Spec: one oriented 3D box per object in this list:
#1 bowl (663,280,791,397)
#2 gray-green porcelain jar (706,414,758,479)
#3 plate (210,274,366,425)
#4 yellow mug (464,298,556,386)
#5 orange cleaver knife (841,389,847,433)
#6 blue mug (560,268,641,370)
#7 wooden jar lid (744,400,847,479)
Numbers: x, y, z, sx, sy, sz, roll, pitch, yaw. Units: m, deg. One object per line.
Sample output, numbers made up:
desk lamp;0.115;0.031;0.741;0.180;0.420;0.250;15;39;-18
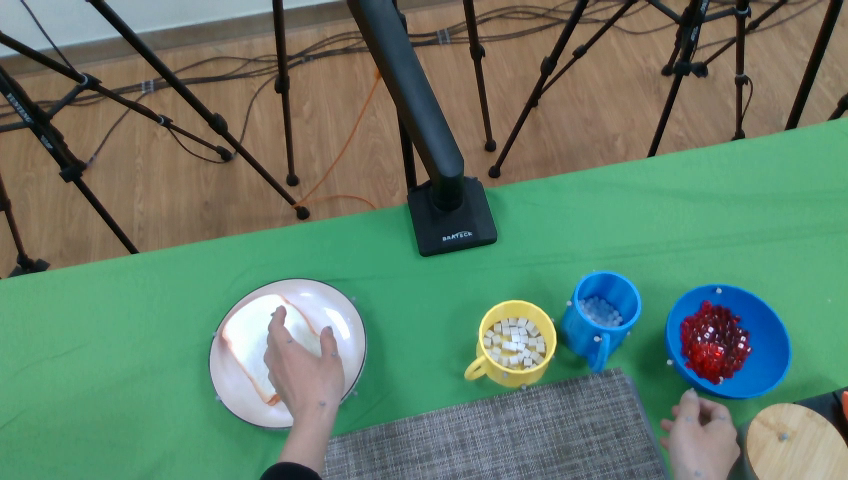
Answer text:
bowl;0.376;0.136;0.781;0.151;0.077;0.150;-1;61;2
gray-green porcelain jar;0.391;0.255;0.688;0.106;0.127;0.105;0;61;1
plate;-0.179;0.146;0.815;0.208;0.039;0.206;0;62;1
yellow mug;0.107;0.142;0.792;0.131;0.064;0.099;-31;64;-13
orange cleaver knife;0.526;0.277;0.695;0.012;0.077;0.211;-14;88;-5
blue mug;0.225;0.111;0.784;0.082;0.107;0.115;6;62;6
wooden jar lid;0.388;0.223;0.633;0.108;0.021;0.107;1;63;-1
